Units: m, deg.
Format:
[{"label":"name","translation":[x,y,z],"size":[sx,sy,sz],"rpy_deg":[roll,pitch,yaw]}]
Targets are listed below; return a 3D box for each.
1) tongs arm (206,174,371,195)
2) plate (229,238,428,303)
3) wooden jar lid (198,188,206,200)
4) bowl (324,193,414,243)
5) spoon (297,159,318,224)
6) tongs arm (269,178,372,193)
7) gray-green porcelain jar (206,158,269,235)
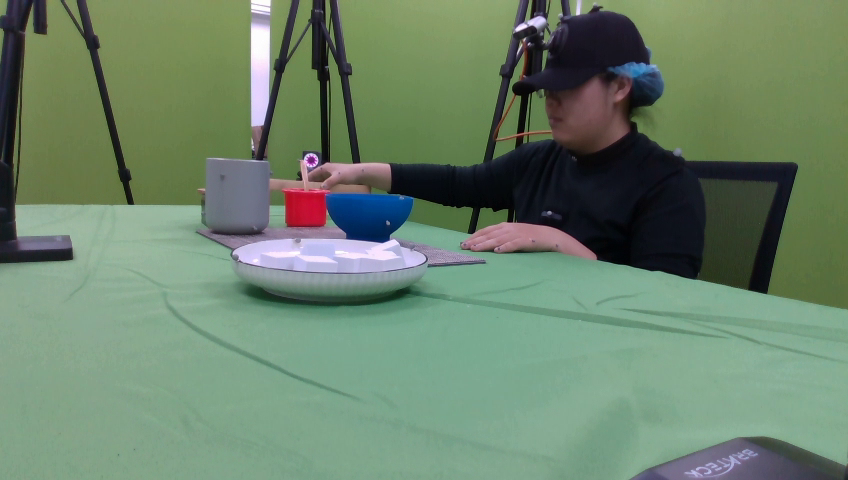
[{"label":"tongs arm","translation":[-0.311,-0.130,1.435],"size":[0.387,0.026,0.050],"rpy_deg":[1,4,-30]},{"label":"plate","translation":[-0.099,0.032,0.651],"size":[0.209,0.038,0.209],"rpy_deg":[3,8,0]},{"label":"wooden jar lid","translation":[-0.382,-0.088,1.175],"size":[0.108,0.020,0.108],"rpy_deg":[3,8,0]},{"label":"bowl","translation":[-0.094,-0.037,1.015],"size":[0.151,0.077,0.151],"rpy_deg":[3,7,0]},{"label":"spoon","translation":[-0.244,-0.103,1.251],"size":[0.042,0.021,0.193],"rpy_deg":[1,51,-17]},{"label":"tongs arm","translation":[-0.279,-0.123,1.382],"size":[0.390,0.027,0.028],"rpy_deg":[0,1,-37]},{"label":"gray-green porcelain jar","translation":[-0.322,-0.076,1.048],"size":[0.106,0.126,0.106],"rpy_deg":[3,7,0]}]
